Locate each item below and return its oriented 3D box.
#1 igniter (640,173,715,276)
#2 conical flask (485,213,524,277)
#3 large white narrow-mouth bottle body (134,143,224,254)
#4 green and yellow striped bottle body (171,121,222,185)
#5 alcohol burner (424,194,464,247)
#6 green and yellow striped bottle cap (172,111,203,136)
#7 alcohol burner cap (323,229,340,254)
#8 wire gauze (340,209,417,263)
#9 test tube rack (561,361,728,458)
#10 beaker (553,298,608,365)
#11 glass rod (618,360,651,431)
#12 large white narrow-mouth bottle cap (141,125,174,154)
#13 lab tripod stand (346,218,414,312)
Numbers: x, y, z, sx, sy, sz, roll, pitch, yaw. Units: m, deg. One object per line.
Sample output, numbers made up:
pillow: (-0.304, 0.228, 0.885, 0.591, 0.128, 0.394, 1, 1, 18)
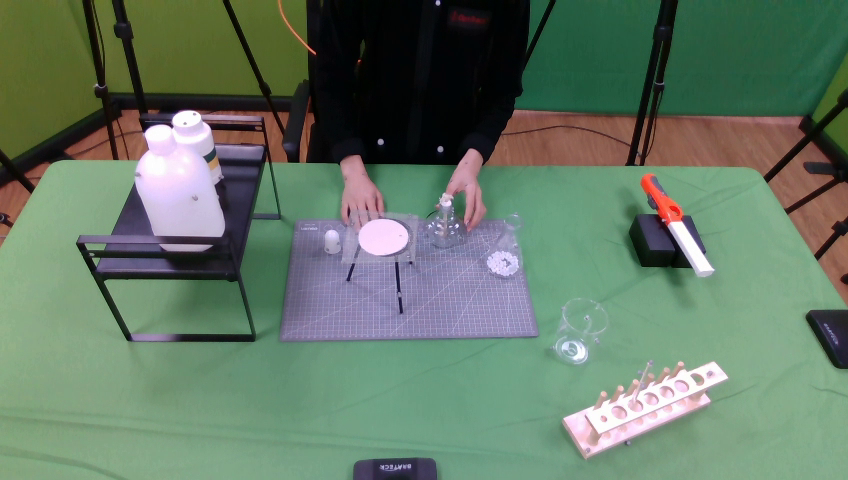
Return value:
igniter: (0.495, -0.039, 1.204, 0.057, 0.025, 0.274, -2, 47, -12)
conical flask: (0.157, 0.007, 1.129, 0.075, 0.122, 0.075, 2, 46, -2)
large white narrow-mouth bottle body: (-0.358, -0.075, 0.875, 0.102, 0.195, 0.101, 1, 48, -1)
green and yellow striped bottle body: (-0.375, -0.149, 0.995, 0.063, 0.120, 0.063, 2, 46, -2)
alcohol burner: (0.039, -0.043, 1.175, 0.078, 0.120, 0.077, 1, 48, -1)
green and yellow striped bottle cap: (-0.374, -0.185, 0.958, 0.045, 0.020, 0.045, 4, 46, -4)
alcohol burner cap: (-0.179, 0.001, 1.165, 0.034, 0.048, 0.033, 2, 45, -2)
wire gauze: (-0.074, -0.007, 1.023, 0.121, 0.011, 0.124, 3, 46, 0)
test tube rack: (0.341, 0.248, 0.940, 0.243, 0.085, 0.066, -15, 48, -18)
beaker: (0.260, 0.154, 1.015, 0.073, 0.101, 0.084, 37, 54, 27)
glass rod: (0.298, 0.227, 0.865, 0.008, 0.201, 0.008, -1, 47, 2)
large white narrow-mouth bottle cap: (-0.356, -0.134, 0.810, 0.038, 0.024, 0.037, 2, 48, -2)
lab tripod stand: (-0.070, 0.037, 1.075, 0.148, 0.132, 0.147, 1, 48, -1)
